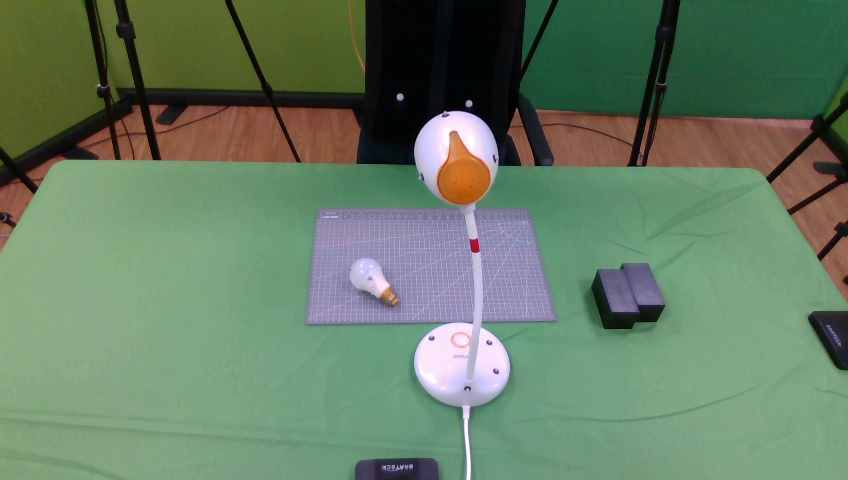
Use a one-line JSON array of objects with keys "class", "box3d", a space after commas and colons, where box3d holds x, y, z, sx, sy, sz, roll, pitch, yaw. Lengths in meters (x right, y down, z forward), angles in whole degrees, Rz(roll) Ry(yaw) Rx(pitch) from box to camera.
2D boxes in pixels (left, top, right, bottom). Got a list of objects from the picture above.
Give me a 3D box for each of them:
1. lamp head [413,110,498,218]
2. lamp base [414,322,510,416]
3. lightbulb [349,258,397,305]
[{"class": "lamp head", "box3d": [0.044, -0.090, 0.758, 0.112, 0.113, 0.122, -1, 32, -4]}, {"class": "lamp base", "box3d": [0.069, 0.159, 0.942, 0.161, 0.181, 0.178, -4, 49, -8]}, {"class": "lightbulb", "box3d": [-0.090, 0.078, 1.095, 0.107, 0.060, 0.059, 43, 56, 12]}]
